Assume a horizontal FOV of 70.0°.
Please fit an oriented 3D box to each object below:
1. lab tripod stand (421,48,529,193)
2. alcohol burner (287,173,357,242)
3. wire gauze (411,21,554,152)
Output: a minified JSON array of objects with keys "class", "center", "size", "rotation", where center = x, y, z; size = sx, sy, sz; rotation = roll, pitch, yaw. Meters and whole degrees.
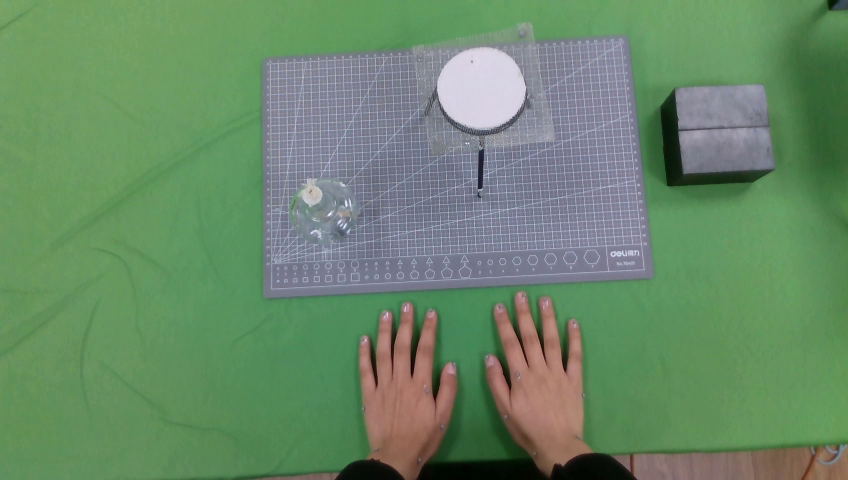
[{"class":"lab tripod stand","center":[0.061,-0.140,0.661],"size":[0.148,0.132,0.147],"rotation":[0,78,2]},{"class":"alcohol burner","center":[-0.115,-0.040,0.661],"size":[0.078,0.119,0.077],"rotation":[0,78,2]},{"class":"wire gauze","center":[0.056,-0.150,0.595],"size":[0.125,0.011,0.121],"rotation":[-9,80,0]}]
